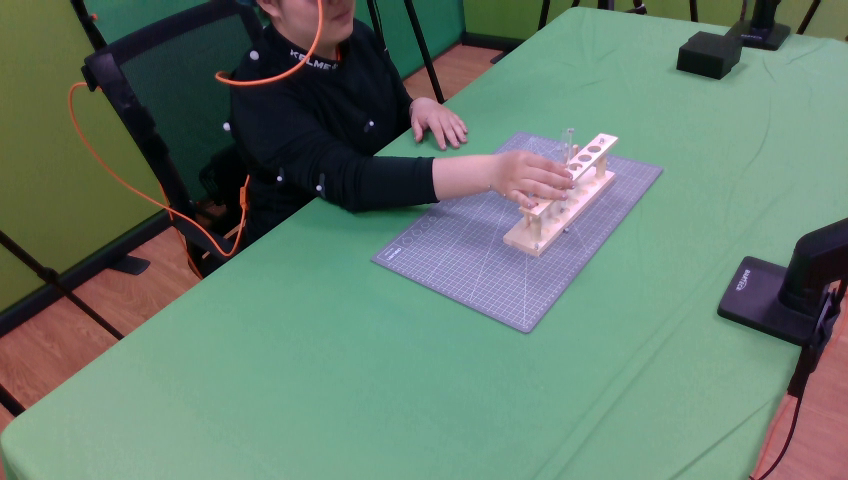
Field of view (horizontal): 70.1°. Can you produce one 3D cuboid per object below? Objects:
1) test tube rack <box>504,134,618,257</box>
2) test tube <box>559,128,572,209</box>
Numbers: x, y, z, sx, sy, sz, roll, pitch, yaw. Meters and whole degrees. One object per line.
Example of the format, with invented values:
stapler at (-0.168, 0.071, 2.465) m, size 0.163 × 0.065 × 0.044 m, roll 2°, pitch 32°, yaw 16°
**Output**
test tube rack at (0.225, -0.083, 0.984) m, size 0.066 × 0.085 × 0.243 m, roll 25°, pitch 51°, yaw 34°
test tube at (0.218, -0.107, 0.934) m, size 0.017 × 0.151 × 0.017 m, roll -5°, pitch 43°, yaw 5°
